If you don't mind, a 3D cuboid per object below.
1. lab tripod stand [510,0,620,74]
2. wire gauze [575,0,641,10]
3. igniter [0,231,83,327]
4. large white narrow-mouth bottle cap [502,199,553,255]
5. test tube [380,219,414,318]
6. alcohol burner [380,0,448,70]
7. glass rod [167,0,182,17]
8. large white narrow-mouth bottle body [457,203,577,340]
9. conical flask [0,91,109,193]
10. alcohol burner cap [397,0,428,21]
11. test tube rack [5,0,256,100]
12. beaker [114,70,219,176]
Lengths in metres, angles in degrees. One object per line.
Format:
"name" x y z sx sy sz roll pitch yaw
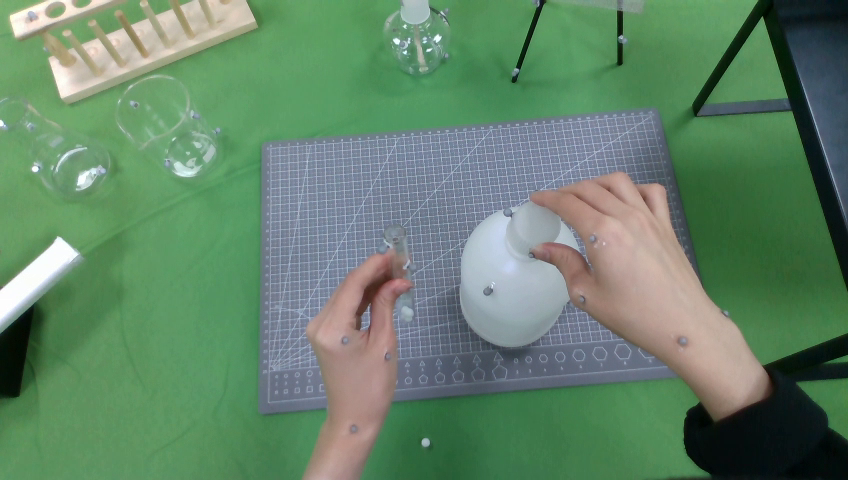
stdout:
"lab tripod stand" 0.158 -0.259 0.661 0.148 0.132 0.147 0 69 1
"wire gauze" 0.163 -0.285 0.599 0.121 0.011 0.124 16 72 5
"igniter" -0.436 0.100 0.555 0.057 0.025 0.276 38 72 12
"large white narrow-mouth bottle cap" 0.074 -0.009 0.431 0.038 0.024 0.037 -1 72 2
"test tube" -0.019 0.027 0.458 0.017 0.151 0.017 -1 62 2
"alcohol burner" -0.011 -0.246 0.672 0.078 0.120 0.077 0 68 1
"glass rod" -0.312 -0.316 0.650 0.008 0.201 0.008 -3 64 7
"large white narrow-mouth bottle body" 0.080 0.024 0.527 0.102 0.196 0.101 -1 71 2
"conical flask" -0.392 -0.105 0.627 0.075 0.122 0.075 -1 69 2
"alcohol burner cap" -0.014 -0.260 0.639 0.034 0.048 0.033 0 69 1
"test tube rack" -0.330 -0.257 0.700 0.242 0.086 0.066 -25 71 -7
"beaker" -0.267 -0.116 0.640 0.074 0.101 0.083 10 71 6
